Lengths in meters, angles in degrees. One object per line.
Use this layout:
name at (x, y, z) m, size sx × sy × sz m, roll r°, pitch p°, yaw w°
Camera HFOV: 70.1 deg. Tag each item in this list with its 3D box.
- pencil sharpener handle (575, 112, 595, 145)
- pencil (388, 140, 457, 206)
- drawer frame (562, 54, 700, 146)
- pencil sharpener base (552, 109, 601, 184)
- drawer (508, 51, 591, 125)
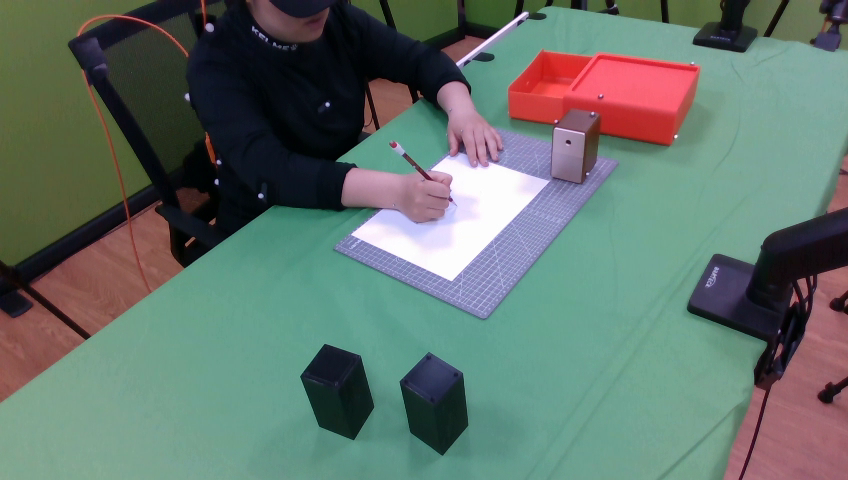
pencil sharpener handle at (0.290, -0.203, 1.077) m, size 0.036 × 0.068 × 0.031 m, roll 20°, pitch 47°, yaw 25°
pencil at (0.003, -0.102, 0.970) m, size 0.012 × 0.196 × 0.012 m, roll -19°, pitch 53°, yaw 28°
drawer frame at (0.407, -0.282, 1.195) m, size 0.212 × 0.083 × 0.202 m, roll 17°, pitch 45°, yaw 25°
pencil sharpener base at (0.265, -0.163, 1.053) m, size 0.061 × 0.107 × 0.077 m, roll 17°, pitch 46°, yaw 28°
drawer at (0.305, -0.309, 1.246) m, size 0.210 × 0.073 × 0.195 m, roll 16°, pitch 45°, yaw 25°
